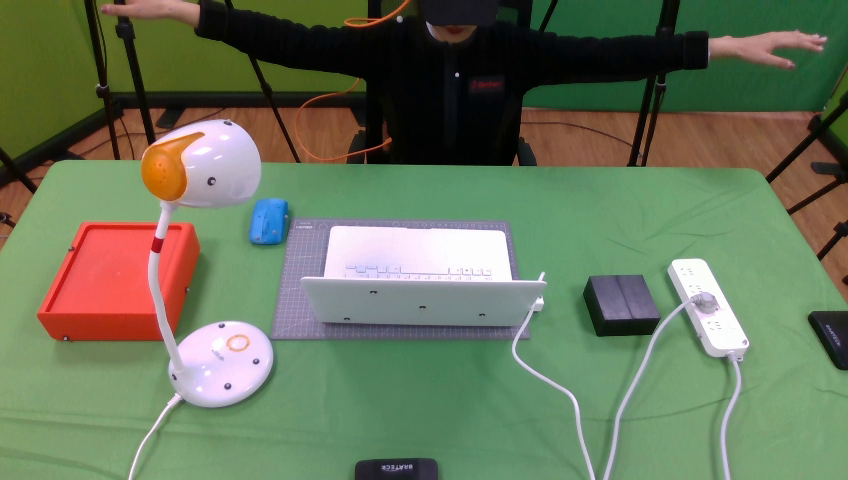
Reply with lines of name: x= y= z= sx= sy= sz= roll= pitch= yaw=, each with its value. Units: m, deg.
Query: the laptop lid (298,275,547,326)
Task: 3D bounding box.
laptop lid: x=-0.004 y=0.099 z=0.947 sx=0.357 sy=0.242 sz=0.013 roll=2 pitch=67 yaw=-4

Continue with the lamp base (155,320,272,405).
lamp base: x=-0.330 y=0.149 z=0.918 sx=0.160 sy=0.181 sz=0.179 roll=26 pitch=52 yaw=20

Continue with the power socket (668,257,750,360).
power socket: x=0.517 y=0.117 z=1.110 sx=0.072 sy=0.033 sz=0.225 roll=-3 pitch=47 yaw=-4

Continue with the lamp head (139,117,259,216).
lamp head: x=-0.281 y=-0.086 z=0.734 sx=0.112 sy=0.113 sz=0.123 roll=21 pitch=25 yaw=16

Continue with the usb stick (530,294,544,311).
usb stick: x=0.183 y=0.111 z=1.086 sx=0.059 sy=0.027 sz=0.021 roll=0 pitch=47 yaw=-4

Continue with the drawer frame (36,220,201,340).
drawer frame: x=-0.518 y=0.065 z=1.055 sx=0.202 sy=0.083 sz=0.212 roll=0 pitch=47 yaw=-5

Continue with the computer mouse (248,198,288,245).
computer mouse: x=-0.309 y=-0.041 z=1.205 sx=0.063 sy=0.041 sz=0.116 roll=3 pitch=49 yaw=-3

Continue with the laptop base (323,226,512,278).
laptop base: x=-0.010 y=0.063 z=1.137 sx=0.354 sy=0.023 sz=0.234 roll=1 pitch=42 yaw=-3

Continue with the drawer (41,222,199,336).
drawer: x=-0.519 y=0.064 z=1.058 sx=0.195 sy=0.073 sz=0.210 roll=1 pitch=46 yaw=-4

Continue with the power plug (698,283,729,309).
power plug: x=0.510 y=0.096 z=1.060 sx=0.052 sy=0.073 sz=0.035 roll=-21 pitch=61 yaw=9
